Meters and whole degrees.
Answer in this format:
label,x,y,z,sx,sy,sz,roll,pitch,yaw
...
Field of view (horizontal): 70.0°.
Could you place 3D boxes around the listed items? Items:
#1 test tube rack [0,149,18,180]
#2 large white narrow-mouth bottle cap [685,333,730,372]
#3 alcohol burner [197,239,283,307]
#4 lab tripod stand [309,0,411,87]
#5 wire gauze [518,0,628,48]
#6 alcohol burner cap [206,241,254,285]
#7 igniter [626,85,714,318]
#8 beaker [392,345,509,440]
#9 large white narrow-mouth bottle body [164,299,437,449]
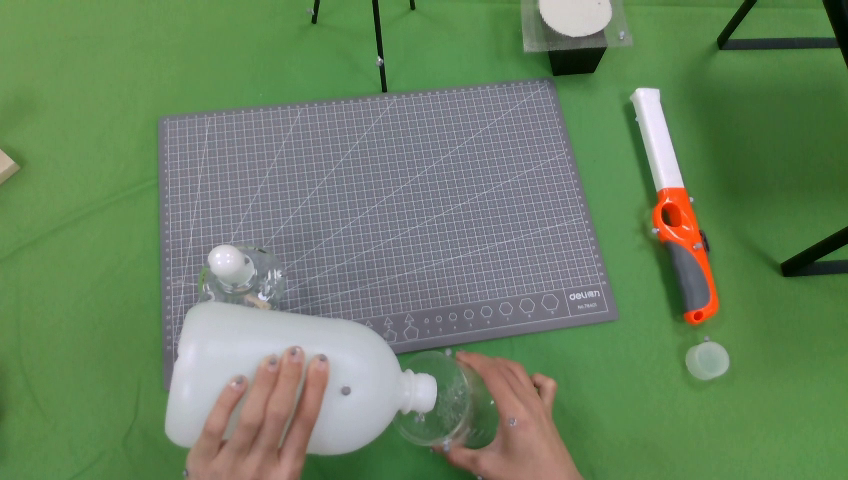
label,x,y,z,sx,sy,sz,roll,pitch,yaw
test tube rack,-0.525,-0.028,0.565,0.066,0.085,0.242,39,72,10
large white narrow-mouth bottle cap,0.284,0.112,0.609,0.038,0.024,0.037,1,69,-3
alcohol burner,-0.170,0.030,0.552,0.078,0.120,0.077,2,68,-5
lab tripod stand,-0.062,-0.265,0.663,0.148,0.132,0.147,2,70,-5
wire gauze,0.166,-0.273,0.696,0.121,0.011,0.124,0,69,-4
alcohol burner cap,-0.168,0.018,0.518,0.034,0.048,0.033,1,75,-2
igniter,0.267,-0.049,0.663,0.057,0.025,0.274,-1,69,-15
beaker,0.024,0.138,0.531,0.084,0.101,0.073,-18,64,24
large white narrow-mouth bottle body,-0.085,0.106,0.460,0.195,0.102,0.101,10,68,-18
